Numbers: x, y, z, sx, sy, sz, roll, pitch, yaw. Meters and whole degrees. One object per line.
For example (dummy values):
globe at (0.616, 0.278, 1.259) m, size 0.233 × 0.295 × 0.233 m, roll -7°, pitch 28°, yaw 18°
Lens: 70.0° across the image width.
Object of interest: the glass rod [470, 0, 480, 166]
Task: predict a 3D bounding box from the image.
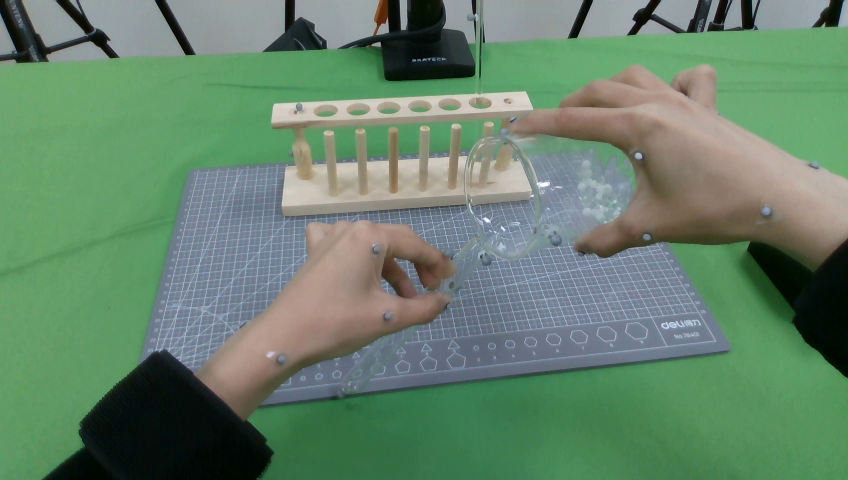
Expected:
glass rod at (0.048, -0.159, 0.569) m, size 0.008 × 0.201 × 0.008 m, roll -1°, pitch 36°, yaw 1°

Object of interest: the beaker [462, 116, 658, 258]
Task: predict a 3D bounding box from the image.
beaker at (0.083, -0.034, 0.370) m, size 0.100 × 0.084 × 0.073 m, roll -14°, pitch 56°, yaw -25°

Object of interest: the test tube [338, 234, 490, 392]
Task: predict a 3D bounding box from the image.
test tube at (-0.010, 0.052, 0.404) m, size 0.017 × 0.150 × 0.017 m, roll 36°, pitch 21°, yaw -16°

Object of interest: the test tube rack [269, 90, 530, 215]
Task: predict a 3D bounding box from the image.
test tube rack at (-0.020, -0.085, 0.586) m, size 0.243 × 0.086 × 0.066 m, roll -4°, pitch 43°, yaw -5°
